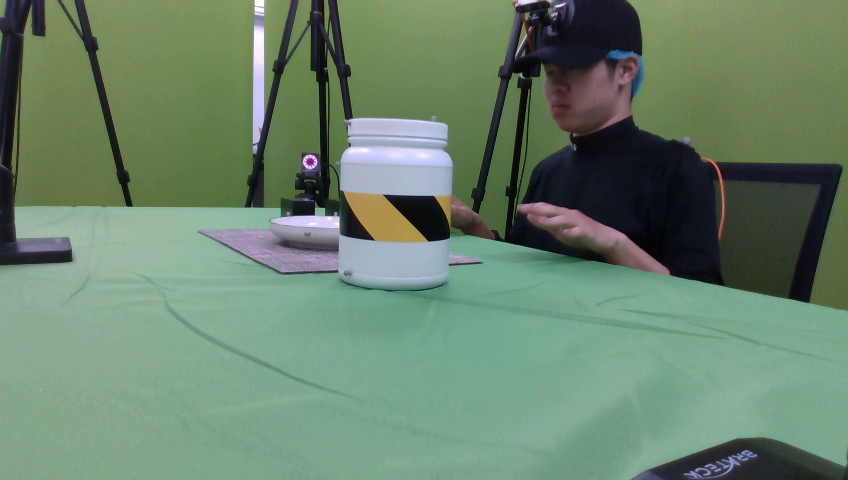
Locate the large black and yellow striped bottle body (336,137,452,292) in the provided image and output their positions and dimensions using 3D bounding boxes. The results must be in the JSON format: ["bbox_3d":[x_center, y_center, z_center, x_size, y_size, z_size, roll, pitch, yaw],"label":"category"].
[{"bbox_3d":[-0.034,-0.041,0.703,0.131,0.184,0.130,3,7,0],"label":"large black and yellow striped bottle body"}]

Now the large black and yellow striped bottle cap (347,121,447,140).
[{"bbox_3d":[-0.031,-0.124,0.691,0.115,0.019,0.115,1,7,0],"label":"large black and yellow striped bottle cap"}]

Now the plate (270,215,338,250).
[{"bbox_3d":[-0.145,-0.013,0.992,0.208,0.039,0.207,2,7,0],"label":"plate"}]
